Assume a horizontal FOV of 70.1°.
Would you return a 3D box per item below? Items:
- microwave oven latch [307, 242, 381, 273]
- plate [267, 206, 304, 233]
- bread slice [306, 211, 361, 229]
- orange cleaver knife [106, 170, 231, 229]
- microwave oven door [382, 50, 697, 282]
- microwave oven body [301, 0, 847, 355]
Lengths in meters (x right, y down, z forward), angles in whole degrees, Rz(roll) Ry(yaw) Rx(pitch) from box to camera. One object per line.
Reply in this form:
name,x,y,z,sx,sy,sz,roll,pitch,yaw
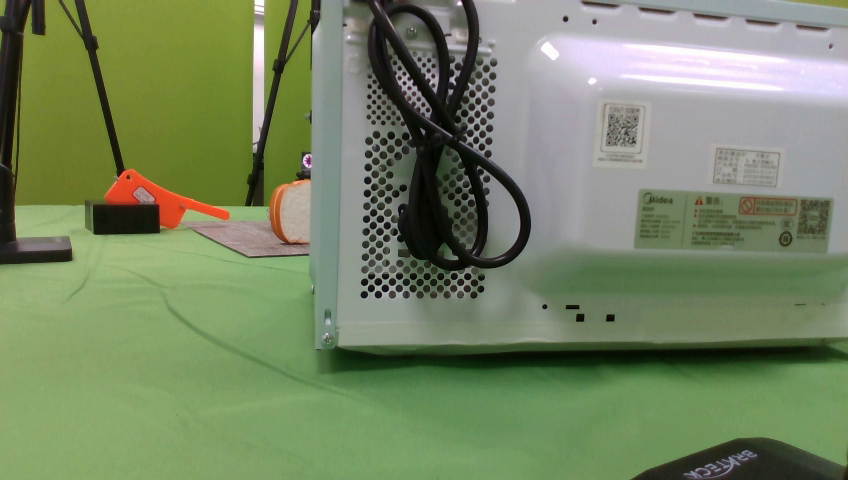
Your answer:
microwave oven latch,-0.086,0.019,0.656,0.079,0.029,0.030,2,7,-10
plate,-0.197,-0.039,1.175,0.208,0.039,0.207,2,7,0
bread slice,-0.173,-0.040,1.173,0.107,0.018,0.134,-2,10,-8
orange cleaver knife,-0.458,-0.060,1.097,0.212,0.077,0.012,23,-5,-38
microwave oven door,0.135,-0.077,0.685,0.357,0.243,0.039,1,8,-12
microwave oven body,0.120,-0.053,0.535,0.443,0.260,0.325,2,7,-11
